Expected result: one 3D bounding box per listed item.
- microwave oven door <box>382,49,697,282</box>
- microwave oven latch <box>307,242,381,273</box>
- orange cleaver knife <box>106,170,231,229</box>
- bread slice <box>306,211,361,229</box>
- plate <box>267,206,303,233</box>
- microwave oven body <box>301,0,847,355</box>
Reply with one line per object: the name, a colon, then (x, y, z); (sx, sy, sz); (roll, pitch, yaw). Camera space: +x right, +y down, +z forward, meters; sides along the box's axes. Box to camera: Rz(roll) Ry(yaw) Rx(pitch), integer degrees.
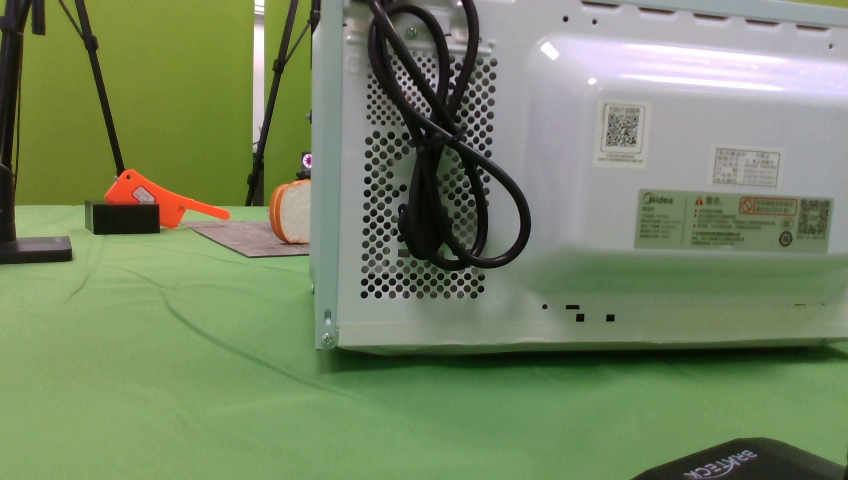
microwave oven door: (0.135, -0.077, 0.685); (0.357, 0.243, 0.039); (1, 8, -12)
microwave oven latch: (-0.086, 0.019, 0.656); (0.079, 0.029, 0.030); (2, 7, -10)
orange cleaver knife: (-0.458, -0.060, 1.097); (0.212, 0.077, 0.012); (23, -5, -38)
bread slice: (-0.173, -0.040, 1.173); (0.107, 0.018, 0.134); (-1, 10, -8)
plate: (-0.197, -0.039, 1.175); (0.208, 0.039, 0.207); (2, 7, 0)
microwave oven body: (0.120, -0.053, 0.535); (0.443, 0.260, 0.325); (2, 7, -11)
